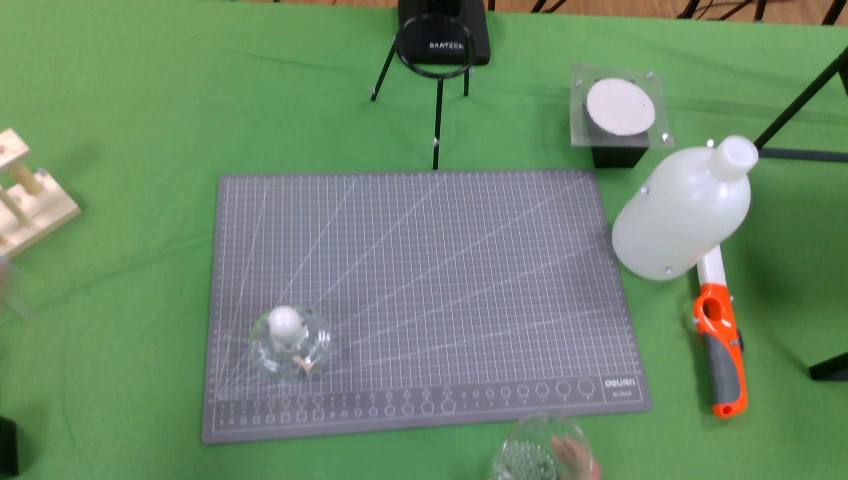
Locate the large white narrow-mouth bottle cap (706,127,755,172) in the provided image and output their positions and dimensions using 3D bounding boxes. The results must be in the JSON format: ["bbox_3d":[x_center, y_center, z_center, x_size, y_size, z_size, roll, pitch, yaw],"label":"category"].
[{"bbox_3d":[0.281,-0.084,0.558,0.038,0.024,0.037,3,64,-5],"label":"large white narrow-mouth bottle cap"}]

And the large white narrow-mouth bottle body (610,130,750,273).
[{"bbox_3d":[0.273,-0.045,0.634,0.102,0.196,0.101,2,64,-5],"label":"large white narrow-mouth bottle body"}]

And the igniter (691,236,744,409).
[{"bbox_3d":[0.324,0.053,0.686,0.057,0.025,0.274,12,63,-15],"label":"igniter"}]

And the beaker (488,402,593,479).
[{"bbox_3d":[0.096,0.195,0.542,0.084,0.101,0.073,-7,62,-8],"label":"beaker"}]

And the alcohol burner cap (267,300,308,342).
[{"bbox_3d":[-0.122,0.070,0.533,0.034,0.048,0.033,1,69,-3],"label":"alcohol burner cap"}]

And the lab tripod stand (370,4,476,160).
[{"bbox_3d":[0.007,-0.188,0.704,0.149,0.132,0.147,3,65,-7],"label":"lab tripod stand"}]

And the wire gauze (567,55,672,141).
[{"bbox_3d":[0.235,-0.173,0.739,0.121,0.011,0.124,5,64,-4],"label":"wire gauze"}]

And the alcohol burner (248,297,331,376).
[{"bbox_3d":[-0.126,0.084,0.566,0.078,0.120,0.077,4,63,-7],"label":"alcohol burner"}]

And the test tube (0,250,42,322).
[{"bbox_3d":[-0.278,0.025,0.401,0.017,0.151,0.017,8,62,-15],"label":"test tube"}]

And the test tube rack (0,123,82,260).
[{"bbox_3d":[-0.474,-0.003,0.584,0.066,0.086,0.242,43,67,14],"label":"test tube rack"}]
